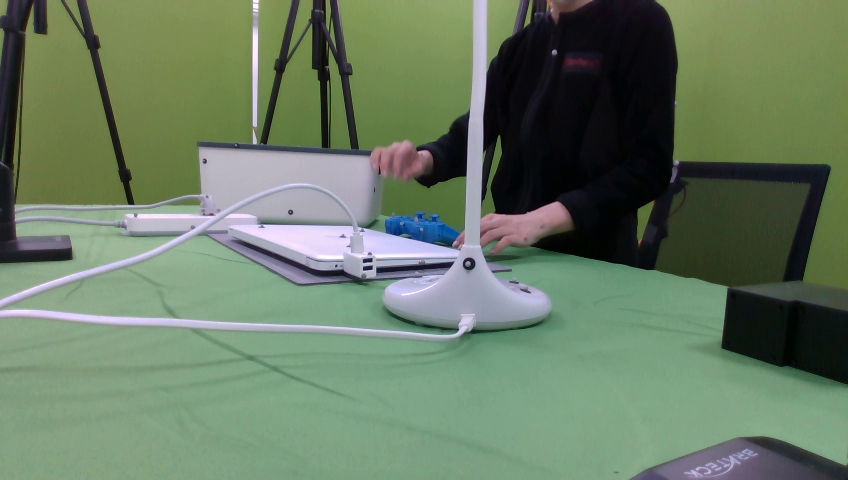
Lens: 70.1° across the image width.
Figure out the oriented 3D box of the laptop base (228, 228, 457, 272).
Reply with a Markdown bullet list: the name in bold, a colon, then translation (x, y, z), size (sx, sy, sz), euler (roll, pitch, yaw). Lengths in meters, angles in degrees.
- **laptop base**: translation (-0.122, 0.011, 0.889), size (0.237, 0.023, 0.352), euler (2, 6, -35)

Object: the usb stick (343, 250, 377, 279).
- **usb stick**: translation (-0.076, 0.026, 0.687), size (0.021, 0.027, 0.059), euler (-8, 8, -31)

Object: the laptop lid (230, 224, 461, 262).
- **laptop lid**: translation (-0.120, 0.000, 0.888), size (0.243, 0.013, 0.355), euler (1, 7, -33)

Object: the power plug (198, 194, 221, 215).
- **power plug**: translation (-0.387, -0.055, 1.089), size (0.035, 0.052, 0.072), euler (-1, 7, -22)

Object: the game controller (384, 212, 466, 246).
- **game controller**: translation (-0.003, -0.021, 1.074), size (0.097, 0.051, 0.154), euler (-4, 9, -32)

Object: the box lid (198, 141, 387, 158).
- **box lid**: translation (-0.275, -0.197, 1.326), size (0.372, 0.015, 0.263), euler (3, 7, 1)

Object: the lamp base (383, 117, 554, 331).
- **lamp base**: translation (0.045, -0.019, 0.547), size (0.161, 0.180, 0.179), euler (2, 10, -4)

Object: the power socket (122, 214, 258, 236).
- **power socket**: translation (-0.398, -0.028, 1.049), size (0.228, 0.032, 0.072), euler (-3, 8, -34)

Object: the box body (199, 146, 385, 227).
- **box body**: translation (-0.276, -0.124, 1.334), size (0.364, 0.160, 0.254), euler (3, 7, 1)
